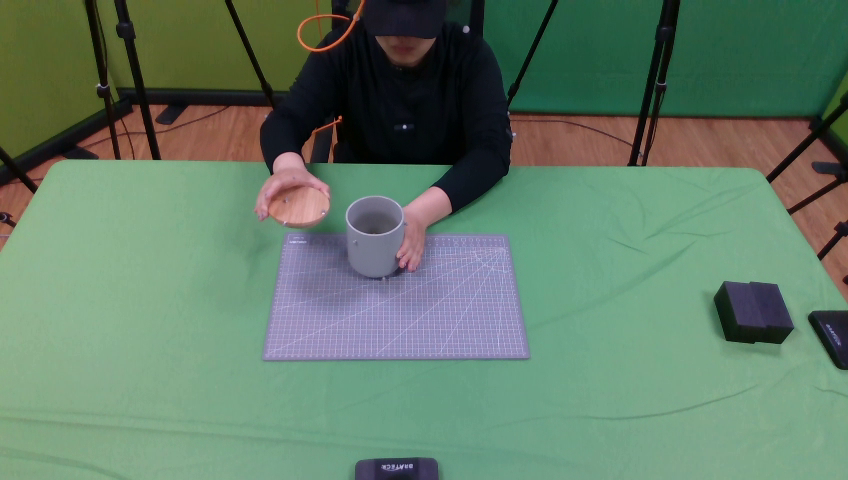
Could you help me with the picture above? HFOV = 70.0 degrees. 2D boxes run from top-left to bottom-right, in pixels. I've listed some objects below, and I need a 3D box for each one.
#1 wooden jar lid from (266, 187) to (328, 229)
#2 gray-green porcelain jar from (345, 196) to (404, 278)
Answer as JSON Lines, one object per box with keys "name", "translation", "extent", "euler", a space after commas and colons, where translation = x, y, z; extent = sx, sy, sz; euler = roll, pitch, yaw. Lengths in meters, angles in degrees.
{"name": "wooden jar lid", "translation": [-0.224, -0.055, 1.070], "extent": [0.108, 0.021, 0.107], "euler": [5, 41, -4]}
{"name": "gray-green porcelain jar", "translation": [-0.091, -0.001, 1.117], "extent": [0.106, 0.127, 0.105], "euler": [3, 46, -2]}
